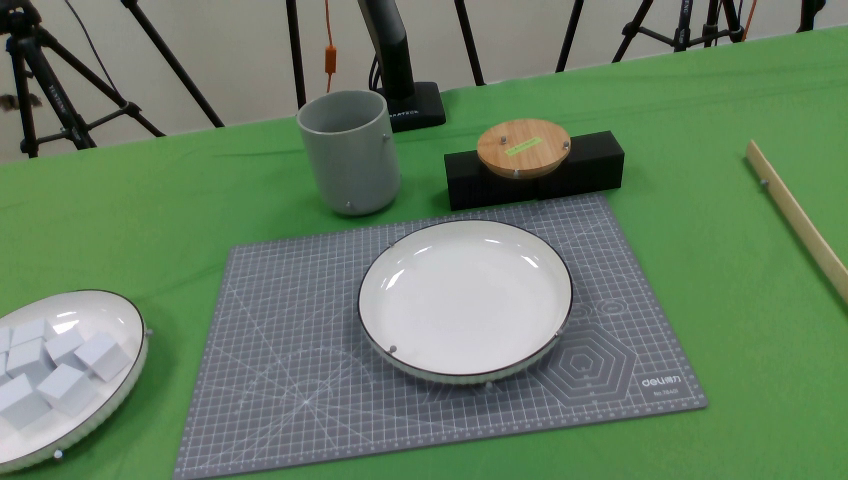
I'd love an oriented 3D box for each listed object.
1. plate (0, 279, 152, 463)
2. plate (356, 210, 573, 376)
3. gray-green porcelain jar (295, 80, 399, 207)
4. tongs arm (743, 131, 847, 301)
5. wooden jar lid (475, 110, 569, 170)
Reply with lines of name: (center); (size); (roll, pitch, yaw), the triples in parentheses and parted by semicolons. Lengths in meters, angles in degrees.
plate: (-0.366, 0.124, 0.589); (0.207, 0.039, 0.205); (-5, 42, 5)
plate: (0.039, 0.050, 0.594); (0.209, 0.038, 0.207); (-5, 42, 5)
gray-green porcelain jar: (-0.088, -0.112, 0.733); (0.106, 0.128, 0.105); (-5, 42, 5)
tongs arm: (0.397, 0.004, 0.592); (0.028, 0.028, 0.383); (-5, 42, 2)
wooden jar lid: (0.114, -0.116, 0.706); (0.108, 0.021, 0.107); (-4, 43, 4)
